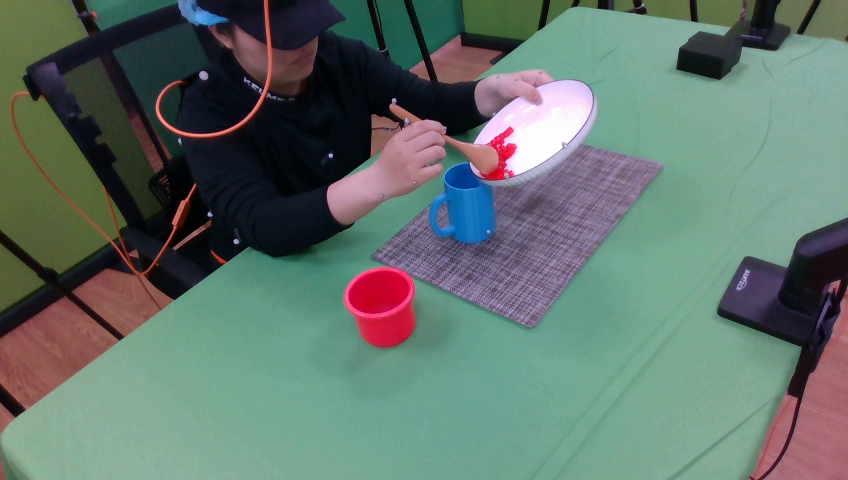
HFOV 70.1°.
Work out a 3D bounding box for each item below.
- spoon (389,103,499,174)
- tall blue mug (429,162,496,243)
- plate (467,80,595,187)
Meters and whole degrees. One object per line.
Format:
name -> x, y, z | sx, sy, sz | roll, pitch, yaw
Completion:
spoon -> 0.032, -0.145, 0.861 | 0.041, 0.195, 0.021 | -67, 24, 0
tall blue mug -> 0.067, -0.051, 0.960 | 0.077, 0.108, 0.107 | 18, 47, 27
plate -> 0.162, -0.153, 0.905 | 0.207, 0.039, 0.206 | -28, 35, 22
